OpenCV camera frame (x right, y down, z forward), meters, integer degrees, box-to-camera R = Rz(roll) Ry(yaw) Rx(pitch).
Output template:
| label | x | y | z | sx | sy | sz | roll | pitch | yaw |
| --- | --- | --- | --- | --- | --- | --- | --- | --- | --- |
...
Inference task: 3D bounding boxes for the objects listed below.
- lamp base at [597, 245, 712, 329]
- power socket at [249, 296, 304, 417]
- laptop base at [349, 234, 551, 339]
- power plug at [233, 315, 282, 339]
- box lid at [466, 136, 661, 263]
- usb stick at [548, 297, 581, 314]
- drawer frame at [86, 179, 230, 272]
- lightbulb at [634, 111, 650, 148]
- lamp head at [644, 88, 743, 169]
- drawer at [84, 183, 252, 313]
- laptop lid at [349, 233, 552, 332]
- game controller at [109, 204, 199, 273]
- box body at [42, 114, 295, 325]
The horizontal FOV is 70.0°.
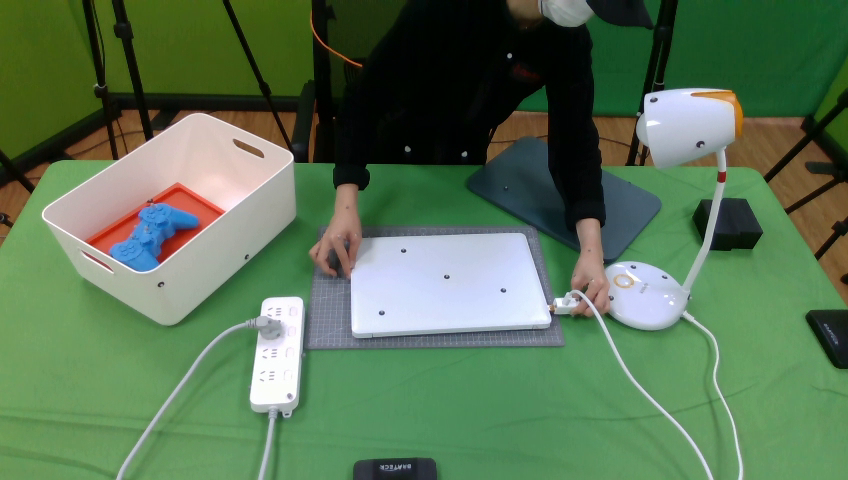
| label | x | y | z | sx | sy | sz | roll | pitch | yaw |
| --- | --- | --- | --- | --- | --- | --- | --- | --- | --- |
| lamp base | 0.418 | 0.050 | 1.071 | 0.179 | 0.181 | 0.160 | 22 | 49 | 13 |
| power socket | -0.239 | 0.182 | 0.996 | 0.072 | 0.033 | 0.225 | -2 | 47 | -5 |
| laptop base | 0.039 | 0.080 | 1.125 | 0.355 | 0.023 | 0.234 | -2 | 43 | -6 |
| power plug | -0.271 | 0.143 | 0.999 | 0.072 | 0.053 | 0.035 | 6 | 47 | 3 |
| box lid | 0.306 | -0.102 | 1.327 | 0.370 | 0.015 | 0.263 | 32 | 51 | 25 |
| usb stick | 0.250 | 0.118 | 1.090 | 0.059 | 0.027 | 0.021 | -4 | 53 | -5 |
| drawer frame | -0.453 | 0.010 | 1.100 | 0.201 | 0.083 | 0.213 | 28 | 54 | 23 |
| lightbulb | 0.348 | -0.163 | 0.852 | 0.059 | 0.060 | 0.107 | -35 | 19 | -32 |
| lamp head | 0.380 | -0.161 | 0.851 | 0.122 | 0.113 | 0.112 | -4 | 42 | 25 |
| drawer | -0.457 | 0.008 | 1.099 | 0.194 | 0.073 | 0.211 | 29 | 49 | 21 |
| laptop lid | 0.040 | 0.071 | 1.119 | 0.357 | 0.013 | 0.240 | -1 | 44 | -5 |
| game controller | -0.467 | -0.005 | 1.044 | 0.097 | 0.052 | 0.154 | 8 | 45 | 10 |
| box body | -0.437 | -0.046 | 1.110 | 0.253 | 0.161 | 0.363 | 24 | 49 | 19 |
